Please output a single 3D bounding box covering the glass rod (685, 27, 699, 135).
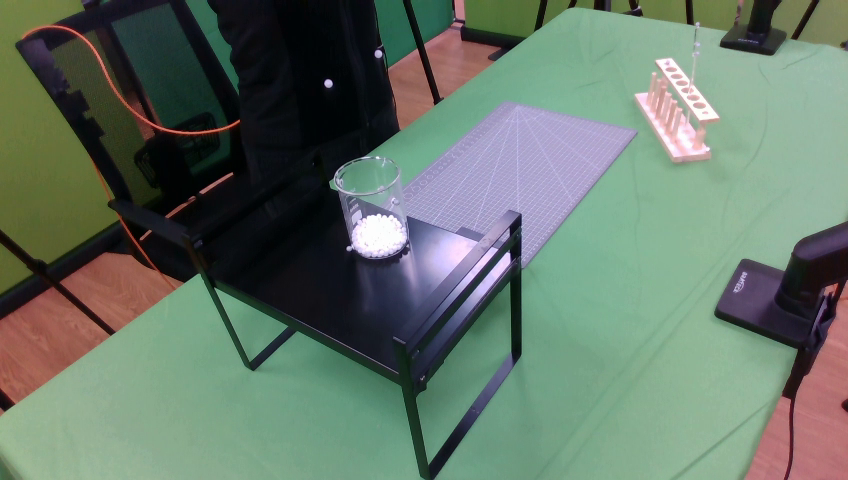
[{"bbox_3d":[0.478,-0.279,1.078,0.008,0.200,0.008,-7,34,5],"label":"glass rod"}]

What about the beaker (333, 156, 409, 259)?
[{"bbox_3d":[-0.055,-0.036,0.688,0.073,0.101,0.084,11,43,20],"label":"beaker"}]

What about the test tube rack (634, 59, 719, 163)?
[{"bbox_3d":[0.470,-0.250,1.148,0.067,0.085,0.241,-6,40,3],"label":"test tube rack"}]
